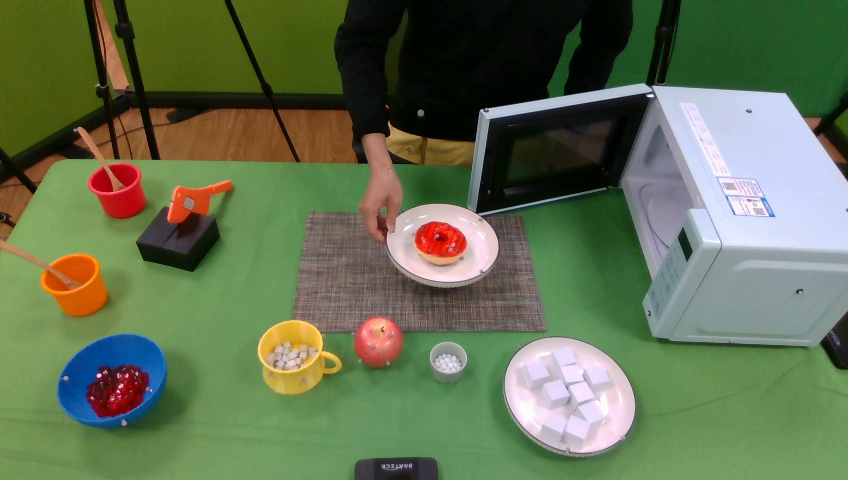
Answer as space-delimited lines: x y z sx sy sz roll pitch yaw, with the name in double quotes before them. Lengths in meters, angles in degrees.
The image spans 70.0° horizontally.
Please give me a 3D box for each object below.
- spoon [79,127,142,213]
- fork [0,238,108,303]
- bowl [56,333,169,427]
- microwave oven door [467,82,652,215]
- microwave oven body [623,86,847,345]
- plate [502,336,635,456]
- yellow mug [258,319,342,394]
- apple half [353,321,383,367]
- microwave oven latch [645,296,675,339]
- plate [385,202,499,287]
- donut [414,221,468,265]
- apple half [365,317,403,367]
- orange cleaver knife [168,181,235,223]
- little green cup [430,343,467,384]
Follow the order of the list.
"spoon" -0.624 -0.139 1.203 0.041 0.021 0.194 -33 100 -26
"fork" -0.633 0.048 1.017 0.208 0.018 0.028 40 43 -27
"bowl" -0.456 0.223 0.912 0.151 0.077 0.150 3 46 -2
"microwave oven door" 0.267 -0.181 1.214 0.356 0.245 0.039 -12 48 -15
"microwave oven body" 0.567 -0.053 1.118 0.326 0.261 0.439 2 45 -1
"plate" 0.225 0.248 0.963 0.208 0.039 0.206 2 46 -2
"yellow mug" -0.195 0.188 0.972 0.131 0.064 0.099 9 47 4
"apple half" -0.097 0.177 0.984 0.033 0.081 0.081 -17 49 -25
"microwave oven latch" 0.412 0.134 1.061 0.030 0.029 0.078 3 45 0
"plate" 0.032 0.012 1.101 0.209 0.038 0.208 3 44 -3
"donut" 0.030 0.004 1.094 0.099 0.048 0.098 4 42 -3
"apple half" -0.063 0.165 1.000 0.053 0.075 0.080 -16 45 -24
"orange cleaver knife" -0.436 -0.078 1.196 0.012 0.077 0.211 16 15 10
"little green cup" 0.039 0.203 0.994 0.061 0.039 0.061 2 46 -2
